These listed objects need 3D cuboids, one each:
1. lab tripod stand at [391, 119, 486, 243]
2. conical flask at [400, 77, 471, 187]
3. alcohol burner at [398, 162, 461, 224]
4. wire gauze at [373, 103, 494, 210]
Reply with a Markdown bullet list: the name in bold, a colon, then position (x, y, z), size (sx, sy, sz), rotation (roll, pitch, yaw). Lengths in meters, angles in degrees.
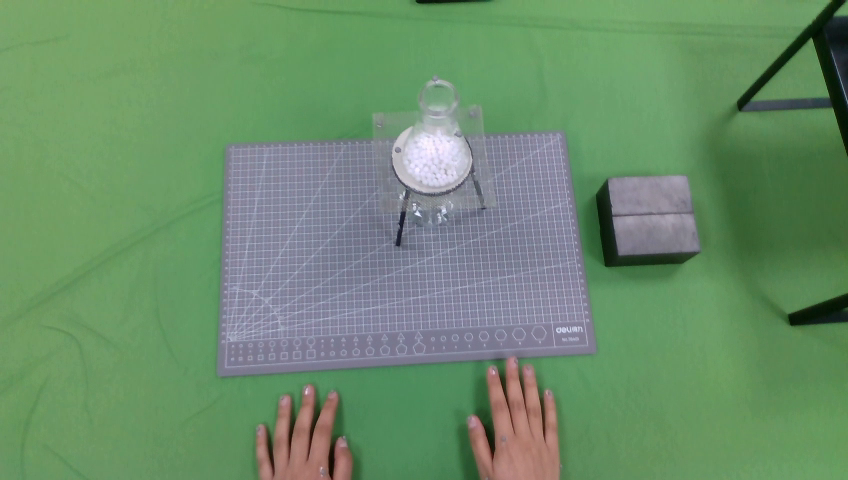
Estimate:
- **lab tripod stand**: position (0.005, -0.074, 0.717), size (0.148, 0.132, 0.147), rotation (0, 73, 0)
- **conical flask**: position (0.013, -0.109, 0.597), size (0.075, 0.122, 0.075), rotation (0, 71, -1)
- **alcohol burner**: position (0.007, -0.063, 0.724), size (0.078, 0.120, 0.077), rotation (0, 73, 0)
- **wire gauze**: position (0.010, -0.090, 0.653), size (0.125, 0.011, 0.120), rotation (-3, 74, -5)
